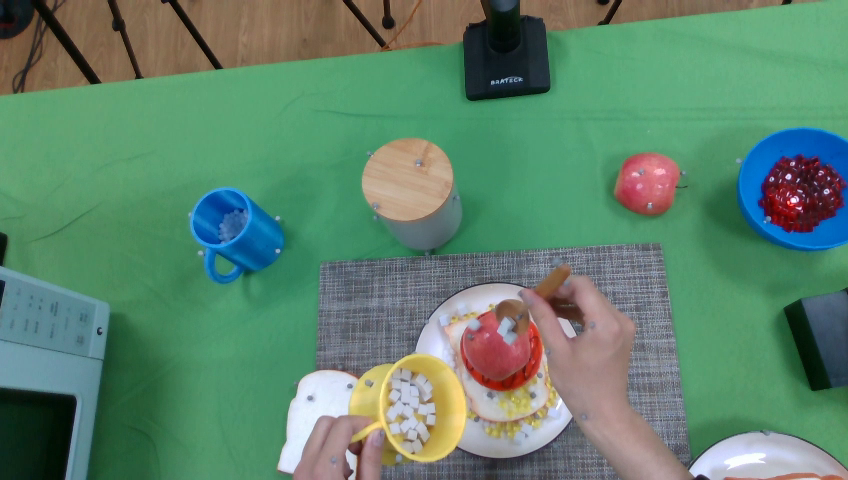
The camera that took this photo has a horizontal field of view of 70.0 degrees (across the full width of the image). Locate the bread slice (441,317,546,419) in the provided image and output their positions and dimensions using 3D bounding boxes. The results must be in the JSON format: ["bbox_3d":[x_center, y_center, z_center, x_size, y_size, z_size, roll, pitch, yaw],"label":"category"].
[{"bbox_3d":[0.092,0.150,0.745,0.107,0.018,0.133,-20,65,-1],"label":"bread slice"}]

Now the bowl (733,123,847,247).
[{"bbox_3d":[0.441,-0.055,0.724,0.151,0.077,0.150,-3,73,9],"label":"bowl"}]

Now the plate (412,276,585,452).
[{"bbox_3d":[0.088,0.148,0.736,0.207,0.039,0.206,-3,73,9],"label":"plate"}]

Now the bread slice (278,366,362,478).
[{"bbox_3d":[-0.124,0.224,0.759,0.105,0.019,0.131,4,76,9],"label":"bread slice"}]

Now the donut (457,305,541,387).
[{"bbox_3d":[0.088,0.124,0.714,0.099,0.048,0.098,-3,73,9],"label":"donut"}]

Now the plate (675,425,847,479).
[{"bbox_3d":[0.368,0.305,0.646,0.209,0.038,0.208,-3,72,9],"label":"plate"}]

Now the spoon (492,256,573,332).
[{"bbox_3d":[0.100,0.054,0.569,0.021,0.194,0.041,-39,80,-18],"label":"spoon"}]

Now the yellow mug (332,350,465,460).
[{"bbox_3d":[-0.029,0.167,0.587,0.131,0.064,0.099,-16,81,-38],"label":"yellow mug"}]

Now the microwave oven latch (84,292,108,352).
[{"bbox_3d":[-0.450,0.111,0.817,0.030,0.030,0.078,0,74,9],"label":"microwave oven latch"}]

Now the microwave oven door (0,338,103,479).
[{"bbox_3d":[-0.466,0.289,0.657,0.039,0.245,0.353,-4,72,9],"label":"microwave oven door"}]

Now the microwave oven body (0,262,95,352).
[{"bbox_3d":[-0.609,0.259,0.695,0.325,0.262,0.439,-3,73,8],"label":"microwave oven body"}]

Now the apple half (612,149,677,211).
[{"bbox_3d":[0.282,-0.083,0.772,0.074,0.054,0.080,18,77,17],"label":"apple half"}]

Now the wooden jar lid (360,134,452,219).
[{"bbox_3d":[-0.021,-0.073,0.711,0.108,0.021,0.107,-2,70,6],"label":"wooden jar lid"}]

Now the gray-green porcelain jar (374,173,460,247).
[{"bbox_3d":[-0.010,-0.054,0.771,0.106,0.127,0.105,-3,72,8],"label":"gray-green porcelain jar"}]

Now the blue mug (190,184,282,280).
[{"bbox_3d":[-0.254,-0.002,0.805,0.082,0.106,0.116,17,76,14],"label":"blue mug"}]

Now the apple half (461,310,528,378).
[{"bbox_3d":[0.079,0.113,0.680,0.081,0.033,0.080,-6,69,15],"label":"apple half"}]
